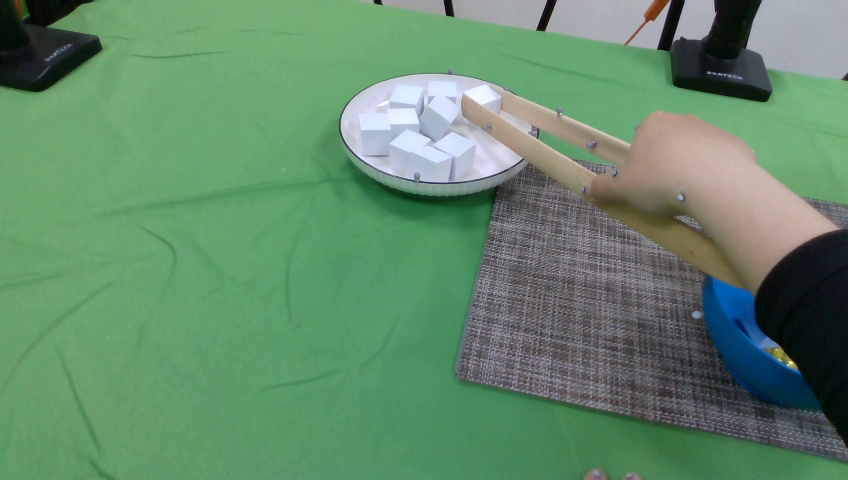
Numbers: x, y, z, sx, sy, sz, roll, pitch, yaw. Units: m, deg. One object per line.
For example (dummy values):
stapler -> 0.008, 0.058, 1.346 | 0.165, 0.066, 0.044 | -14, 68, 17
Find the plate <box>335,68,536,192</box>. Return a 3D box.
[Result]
plate -> 0.011, -0.114, 0.637 | 0.209, 0.038, 0.207 | 1, 44, -1

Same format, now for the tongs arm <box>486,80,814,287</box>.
tongs arm -> 0.146, -0.072, 0.509 | 0.051, 0.027, 0.380 | -18, 35, -25

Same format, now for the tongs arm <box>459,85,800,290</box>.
tongs arm -> 0.125, -0.066, 0.501 | 0.028, 0.028, 0.383 | -12, 33, -23

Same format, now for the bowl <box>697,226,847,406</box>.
bowl -> 0.268, 0.065, 0.444 | 0.151, 0.077, 0.150 | 2, 45, -2
